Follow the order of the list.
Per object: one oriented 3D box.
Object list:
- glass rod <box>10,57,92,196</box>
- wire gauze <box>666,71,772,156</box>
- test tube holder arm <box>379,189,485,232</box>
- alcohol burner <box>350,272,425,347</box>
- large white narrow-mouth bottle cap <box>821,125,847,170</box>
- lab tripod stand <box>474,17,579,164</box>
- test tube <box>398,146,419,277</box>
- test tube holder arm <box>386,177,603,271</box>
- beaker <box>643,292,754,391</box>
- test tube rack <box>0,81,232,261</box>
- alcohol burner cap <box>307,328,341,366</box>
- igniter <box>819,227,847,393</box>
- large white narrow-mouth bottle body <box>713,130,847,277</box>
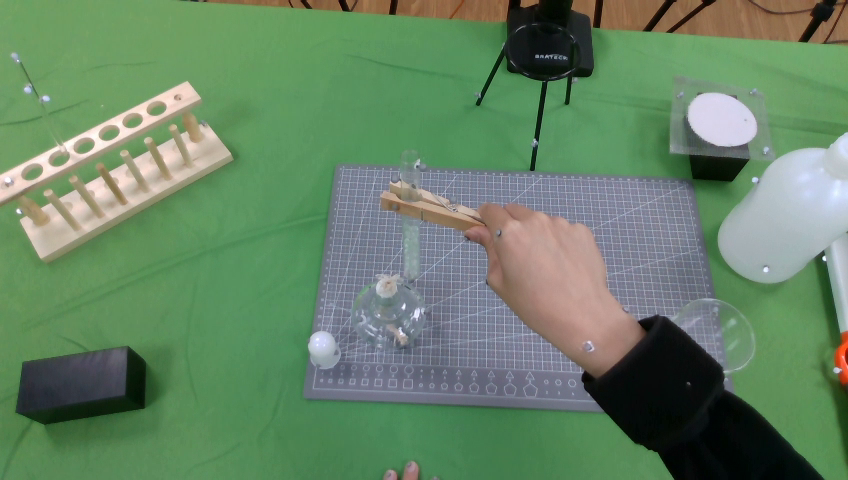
[{"bbox_3d":[-0.391,-0.109,0.643,0.008,0.201,0.008,3,53,-3],"label":"glass rod"},{"bbox_3d":[0.362,-0.157,0.750,0.121,0.011,0.124,9,61,4],"label":"wire gauze"},{"bbox_3d":[0.007,-0.023,0.472,0.087,0.015,0.010,14,57,13],"label":"test tube holder arm"},{"bbox_3d":[-0.037,0.064,0.614,0.078,0.120,0.077,2,60,-2],"label":"alcohol burner"},{"bbox_3d":[0.393,-0.086,0.565,0.038,0.024,0.037,1,61,-1],"label":"large white narrow-mouth bottle cap"},{"bbox_3d":[0.134,-0.190,0.748,0.148,0.132,0.147,1,63,-2],"label":"lab tripod stand"},{"bbox_3d":[-0.013,-0.017,0.500,0.017,0.151,0.017,1,50,0],"label":"test tube"},{"bbox_3d":[0.050,-0.014,0.463,0.177,0.015,0.013,20,60,17],"label":"test tube holder arm"},{"bbox_3d":[0.266,0.105,0.607,0.084,0.101,0.073,8,61,4],"label":"beaker"},{"bbox_3d":[-0.357,-0.082,0.704,0.242,0.086,0.066,-34,68,-18],"label":"test tube rack"},{"bbox_3d":[-0.105,0.109,0.629,0.034,0.048,0.033,0,63,1],"label":"alcohol burner cap"},{"bbox_3d":[0.466,0.104,0.657,0.057,0.025,0.274,12,61,-6],"label":"igniter"},{"bbox_3d":[0.392,-0.043,0.639,0.102,0.196,0.101,0,61,0],"label":"large white narrow-mouth bottle body"}]
